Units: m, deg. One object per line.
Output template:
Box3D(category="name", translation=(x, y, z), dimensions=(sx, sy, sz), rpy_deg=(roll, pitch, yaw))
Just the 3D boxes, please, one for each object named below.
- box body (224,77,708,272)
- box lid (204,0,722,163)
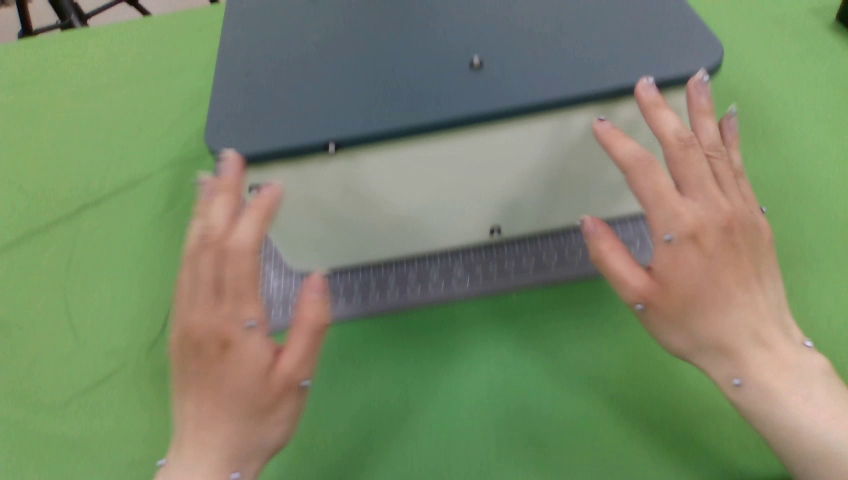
Box3D(category="box body", translation=(0.025, -0.130, 0.547), dimensions=(0.364, 0.162, 0.251), rpy_deg=(-11, 49, 1))
Box3D(category="box lid", translation=(0.013, -0.178, 0.491), dimensions=(0.371, 0.015, 0.260), rpy_deg=(-10, 50, 0))
